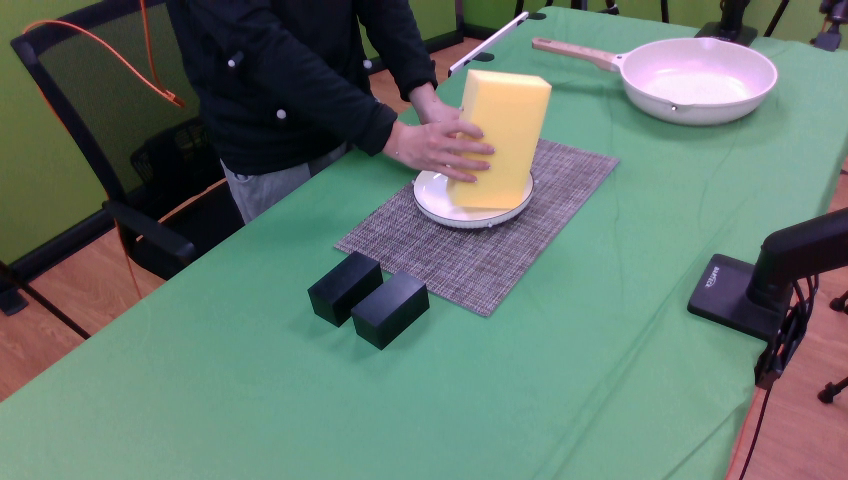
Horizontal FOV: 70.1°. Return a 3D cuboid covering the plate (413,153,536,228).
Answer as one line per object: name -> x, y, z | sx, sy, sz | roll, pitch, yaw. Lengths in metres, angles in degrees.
plate -> 0.086, -0.085, 1.038 | 0.207, 0.039, 0.206 | -4, 41, 4

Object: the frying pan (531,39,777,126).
frying pan -> 0.452, -0.354, 1.254 | 0.485, 0.103, 0.307 | 22, 47, 19

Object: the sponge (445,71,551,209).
sponge -> 0.112, -0.154, 0.958 | 0.119, 0.207, 0.060 | 3, 29, -15
